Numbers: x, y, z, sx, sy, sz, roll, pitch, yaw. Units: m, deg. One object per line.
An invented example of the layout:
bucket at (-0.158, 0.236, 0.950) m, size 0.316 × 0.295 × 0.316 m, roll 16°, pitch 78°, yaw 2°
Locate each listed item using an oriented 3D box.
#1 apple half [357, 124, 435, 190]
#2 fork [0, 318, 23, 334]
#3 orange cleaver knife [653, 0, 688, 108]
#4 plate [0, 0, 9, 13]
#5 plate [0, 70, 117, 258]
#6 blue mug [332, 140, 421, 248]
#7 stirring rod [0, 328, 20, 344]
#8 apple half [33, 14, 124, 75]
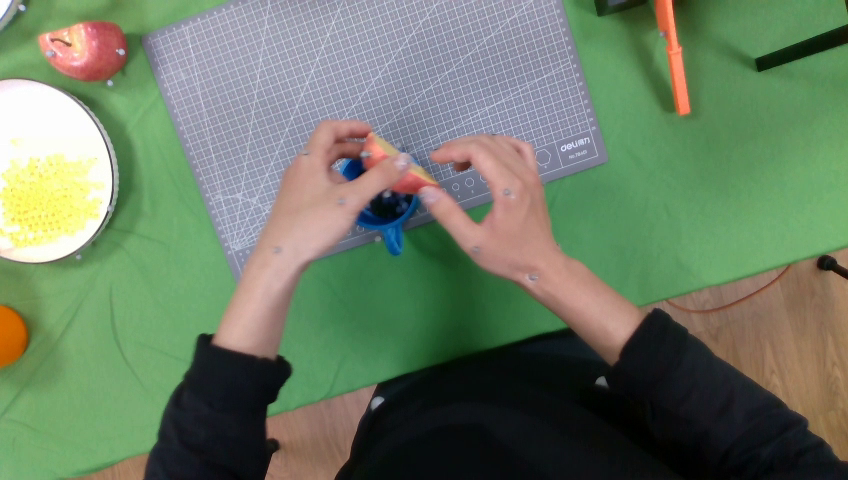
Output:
apple half at (-0.029, -0.063, 0.519) m, size 0.081 × 0.081 × 0.033 m, roll 39°, pitch 104°, yaw -3°
fork at (-0.568, 0.115, 0.670) m, size 0.208 × 0.018 × 0.028 m, roll -8°, pitch 100°, yaw -40°
orange cleaver knife at (0.240, -0.236, 0.608) m, size 0.012 × 0.076 × 0.213 m, roll -16°, pitch 124°, yaw 14°
plate at (-0.531, -0.322, 0.655) m, size 0.207 × 0.039 × 0.208 m, roll 0°, pitch 99°, yaw 3°
plate at (-0.448, -0.084, 0.689) m, size 0.209 × 0.038 × 0.209 m, roll 0°, pitch 100°, yaw 3°
blue mug at (-0.042, -0.049, 0.638) m, size 0.082 × 0.105 × 0.117 m, roll -10°, pitch 98°, yaw 5°
stirring rod at (-0.554, 0.131, 0.674) m, size 0.177 × 0.006 × 0.014 m, roll -16°, pitch 87°, yaw -35°
apple half at (-0.362, -0.204, 0.648) m, size 0.081 × 0.074 × 0.053 m, roll -15°, pitch 101°, yaw 1°
